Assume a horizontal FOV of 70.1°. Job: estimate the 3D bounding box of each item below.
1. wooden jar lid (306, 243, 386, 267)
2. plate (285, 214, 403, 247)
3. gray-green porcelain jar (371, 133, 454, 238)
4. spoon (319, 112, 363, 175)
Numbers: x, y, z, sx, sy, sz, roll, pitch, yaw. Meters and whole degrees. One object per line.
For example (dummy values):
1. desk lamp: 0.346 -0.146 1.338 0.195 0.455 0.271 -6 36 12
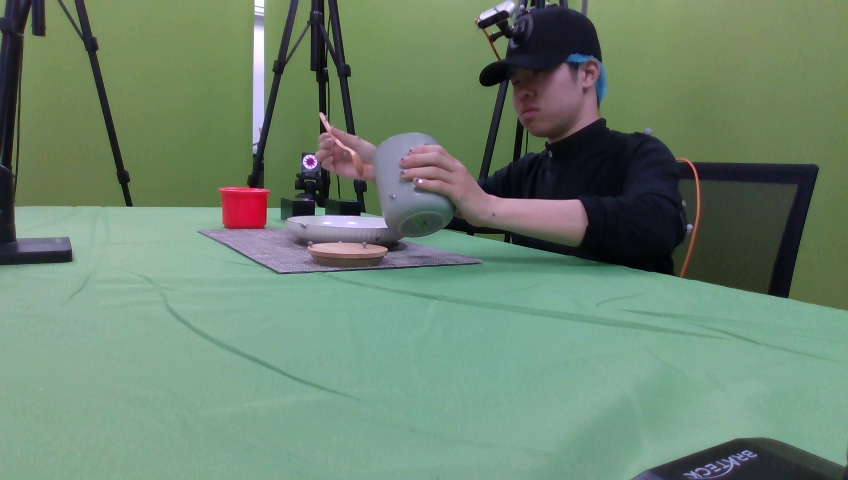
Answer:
1. wooden jar lid: -0.105 0.020 0.816 0.108 0.020 0.108 1 7 0
2. plate: -0.127 -0.015 1.012 0.208 0.039 0.207 3 7 0
3. gray-green porcelain jar: -0.016 -0.075 0.884 0.106 0.126 0.106 -11 -27 -5
4. spoon: -0.152 -0.178 1.080 0.193 0.021 0.042 50 -4 37
